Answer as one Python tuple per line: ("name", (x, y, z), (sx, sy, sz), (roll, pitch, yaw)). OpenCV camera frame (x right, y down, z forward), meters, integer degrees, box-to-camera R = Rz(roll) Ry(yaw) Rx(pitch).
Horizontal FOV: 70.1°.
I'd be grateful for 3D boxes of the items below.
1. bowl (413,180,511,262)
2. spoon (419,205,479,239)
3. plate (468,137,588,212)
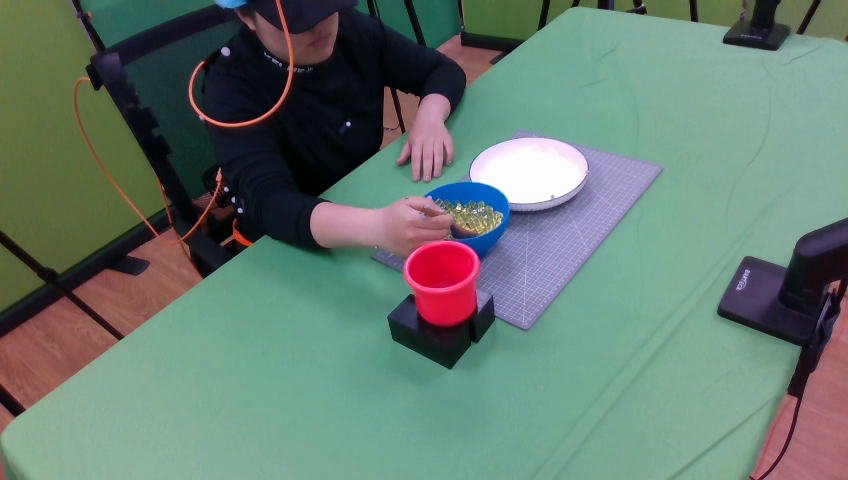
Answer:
("bowl", (0.062, -0.019, 0.945), (0.151, 0.077, 0.150), (-5, 40, 5))
("spoon", (0.034, -0.026, 0.878), (0.041, 0.195, 0.021), (-2, 75, 25))
("plate", (0.182, -0.112, 1.064), (0.207, 0.039, 0.206), (-5, 40, 5))
